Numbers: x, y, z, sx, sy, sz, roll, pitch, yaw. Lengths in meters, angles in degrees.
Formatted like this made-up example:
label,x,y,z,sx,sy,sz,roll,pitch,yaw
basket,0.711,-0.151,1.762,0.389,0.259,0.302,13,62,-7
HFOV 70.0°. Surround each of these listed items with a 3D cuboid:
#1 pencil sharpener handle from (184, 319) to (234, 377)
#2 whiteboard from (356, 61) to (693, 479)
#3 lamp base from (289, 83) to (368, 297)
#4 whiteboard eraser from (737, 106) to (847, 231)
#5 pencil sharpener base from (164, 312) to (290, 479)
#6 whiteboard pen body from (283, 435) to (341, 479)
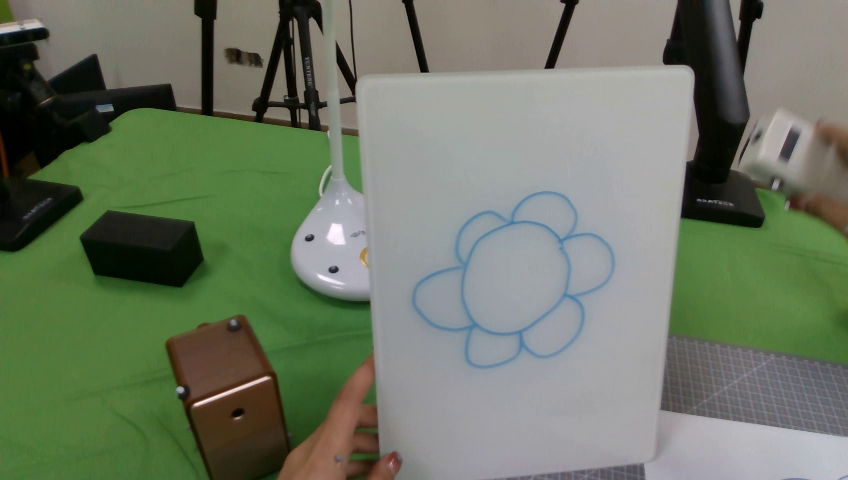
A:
label,x,y,z,sx,sy,sz,roll,pitch,yaw
pencil sharpener handle,-0.170,0.081,0.484,0.036,0.068,0.030,-25,44,-19
whiteboard,0.063,0.018,0.483,0.217,0.307,0.143,-3,18,-6
lamp base,-0.074,-0.060,0.634,0.161,0.182,0.177,-22,41,-28
whiteboard eraser,0.305,-0.054,0.476,0.113,0.042,0.055,29,75,0
pencil sharpener base,-0.147,0.118,0.456,0.061,0.108,0.076,-18,41,-24
whiteboard pen body,-0.110,0.190,0.434,0.017,0.017,0.140,24,39,26
